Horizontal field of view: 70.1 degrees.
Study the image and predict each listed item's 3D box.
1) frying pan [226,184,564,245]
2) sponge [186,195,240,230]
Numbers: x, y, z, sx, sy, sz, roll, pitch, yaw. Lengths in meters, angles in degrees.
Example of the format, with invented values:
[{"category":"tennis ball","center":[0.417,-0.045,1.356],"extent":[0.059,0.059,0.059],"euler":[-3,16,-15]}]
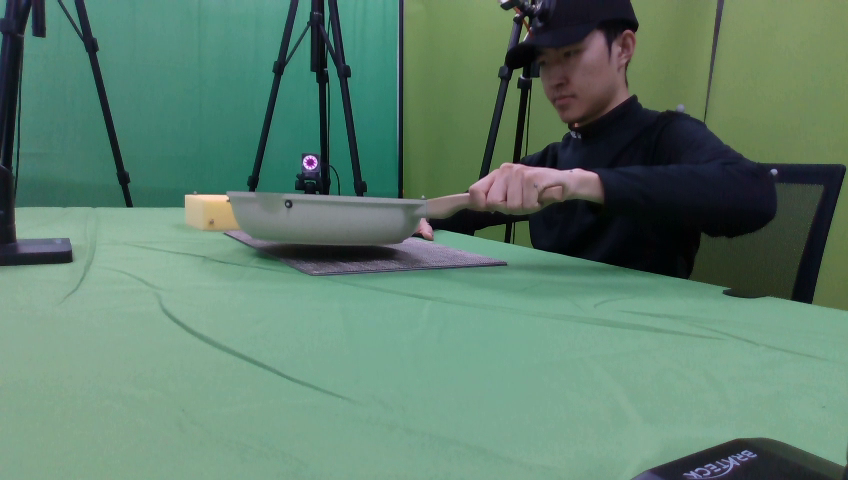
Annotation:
[{"category":"frying pan","center":[-0.047,-0.046,0.859],"extent":[0.486,0.102,0.308],"euler":[-5,1,24]},{"category":"sponge","center":[-0.358,-0.057,1.219],"extent":[0.208,0.061,0.117],"euler":[-3,8,-37]}]
